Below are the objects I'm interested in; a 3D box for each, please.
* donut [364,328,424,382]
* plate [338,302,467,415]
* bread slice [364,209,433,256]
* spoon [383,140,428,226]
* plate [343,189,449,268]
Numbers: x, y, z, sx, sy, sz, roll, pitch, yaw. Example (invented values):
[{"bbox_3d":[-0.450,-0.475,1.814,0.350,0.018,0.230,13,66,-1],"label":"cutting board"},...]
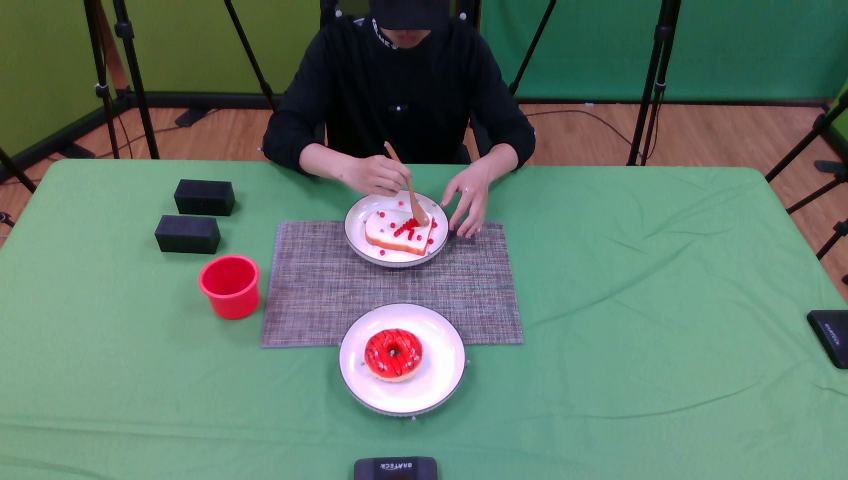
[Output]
[{"bbox_3d":[-0.049,0.185,0.984,0.099,0.048,0.098,1,45,-1],"label":"donut"},{"bbox_3d":[-0.035,0.194,0.992,0.208,0.039,0.206,2,48,-2],"label":"plate"},{"bbox_3d":[-0.054,-0.019,1.200,0.131,0.019,0.104,11,46,2],"label":"bread slice"},{"bbox_3d":[-0.034,-0.107,1.155,0.021,0.195,0.041,-9,33,23],"label":"spoon"},{"bbox_3d":[-0.055,-0.019,1.195,0.209,0.038,0.208,2,46,-2],"label":"plate"}]
